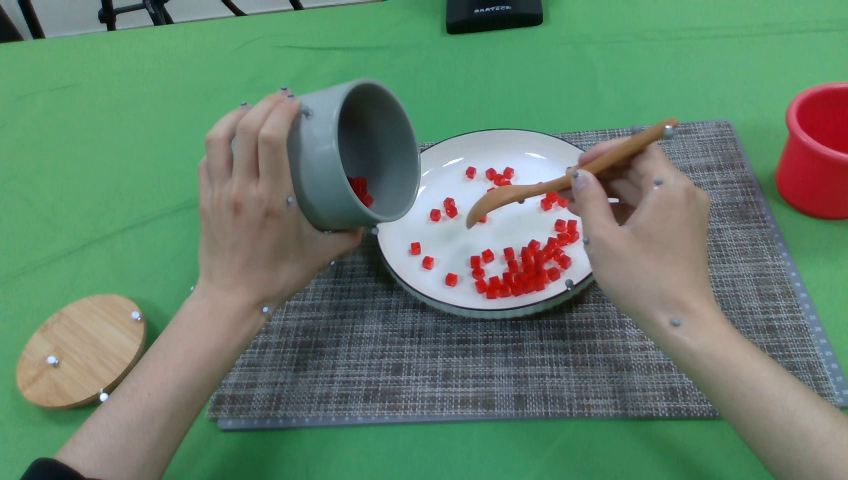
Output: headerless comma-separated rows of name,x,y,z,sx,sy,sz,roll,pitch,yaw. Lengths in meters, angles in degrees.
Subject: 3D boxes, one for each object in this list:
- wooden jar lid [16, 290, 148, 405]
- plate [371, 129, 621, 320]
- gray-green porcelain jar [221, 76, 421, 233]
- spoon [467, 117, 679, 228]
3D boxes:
wooden jar lid,-0.284,0.091,0.511,0.108,0.021,0.107,-4,50,5
plate,0.060,-0.015,0.522,0.207,0.039,0.205,-5,49,6
gray-green porcelain jar,-0.083,-0.060,0.470,0.126,0.107,0.105,-6,47,32
spoon,0.095,-0.043,0.429,0.193,0.022,0.041,-20,18,50
